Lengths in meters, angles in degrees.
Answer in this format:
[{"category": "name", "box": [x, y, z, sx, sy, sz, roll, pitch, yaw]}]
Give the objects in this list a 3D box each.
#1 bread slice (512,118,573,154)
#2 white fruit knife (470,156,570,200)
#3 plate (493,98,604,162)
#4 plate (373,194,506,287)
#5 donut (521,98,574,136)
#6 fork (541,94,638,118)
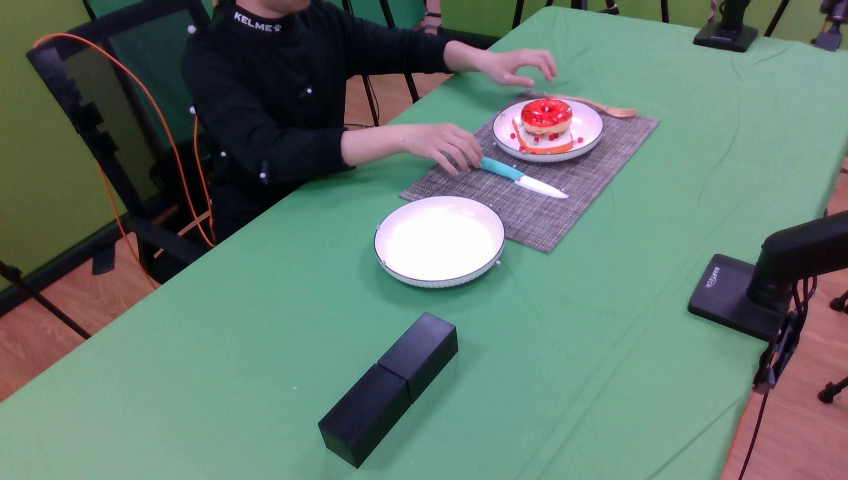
[{"category": "bread slice", "box": [0.232, -0.204, 1.160, 0.105, 0.019, 0.131, -7, 39, 1]}, {"category": "white fruit knife", "box": [0.169, -0.111, 1.076, 0.205, 0.016, 0.027, 28, 80, 32]}, {"category": "plate", "box": [0.237, -0.206, 1.158, 0.209, 0.038, 0.208, -4, 40, 4]}, {"category": "plate", "box": [0.025, 0.003, 0.951, 0.207, 0.039, 0.206, -4, 41, 4]}, {"category": "donut", "box": [0.232, -0.232, 1.135, 0.099, 0.048, 0.098, -4, 41, 4]}, {"category": "fork", "box": [0.334, -0.277, 1.240, 0.206, 0.019, 0.028, 22, 56, 27]}]
